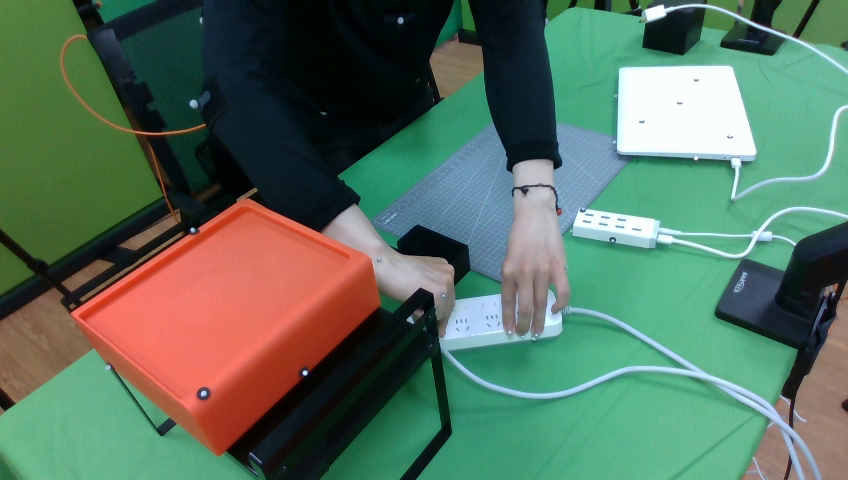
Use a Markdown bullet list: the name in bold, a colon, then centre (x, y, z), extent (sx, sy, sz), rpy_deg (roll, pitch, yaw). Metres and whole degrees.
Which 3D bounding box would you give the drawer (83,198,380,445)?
- **drawer**: centre (-0.185, 0.066, 0.601), extent (0.193, 0.073, 0.212), rpy_deg (24, 50, 31)

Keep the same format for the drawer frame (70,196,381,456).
- **drawer frame**: centre (-0.187, 0.068, 0.597), extent (0.200, 0.083, 0.214), rpy_deg (23, 49, 30)

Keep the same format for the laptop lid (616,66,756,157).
- **laptop lid**: centre (0.503, -0.265, 1.196), extent (0.241, 0.013, 0.356), rpy_deg (5, 42, 16)

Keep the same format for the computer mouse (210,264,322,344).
- **computer mouse**: centre (-0.164, 0.062, 0.625), extent (0.116, 0.041, 0.063), rpy_deg (22, 44, 27)

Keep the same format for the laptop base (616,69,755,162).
- **laptop base**: centre (0.506, -0.256, 1.204), extent (0.235, 0.023, 0.353), rpy_deg (3, 41, 15)

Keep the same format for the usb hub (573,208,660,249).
- **usb hub**: centre (0.301, -0.019, 0.949), extent (0.124, 0.025, 0.049), rpy_deg (11, 43, 20)

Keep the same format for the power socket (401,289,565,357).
- **power socket**: centre (0.081, 0.112, 0.822), extent (0.227, 0.033, 0.072), rpy_deg (-7, 41, -1)

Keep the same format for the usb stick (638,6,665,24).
- **usb stick**: centre (0.503, -0.499, 1.347), extent (0.059, 0.027, 0.021), rpy_deg (-21, 5, -2)

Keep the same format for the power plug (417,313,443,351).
- **power plug**: centre (0.007, 0.127, 0.786), extent (0.035, 0.053, 0.072), rpy_deg (-1, 43, 7)
